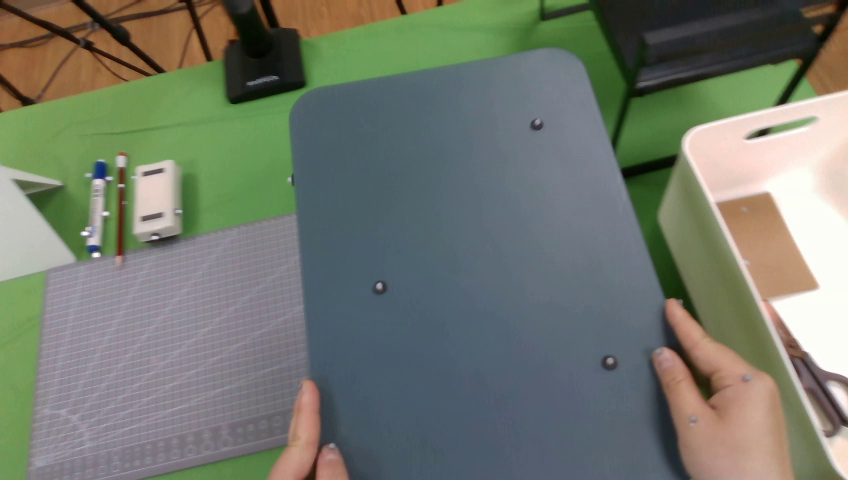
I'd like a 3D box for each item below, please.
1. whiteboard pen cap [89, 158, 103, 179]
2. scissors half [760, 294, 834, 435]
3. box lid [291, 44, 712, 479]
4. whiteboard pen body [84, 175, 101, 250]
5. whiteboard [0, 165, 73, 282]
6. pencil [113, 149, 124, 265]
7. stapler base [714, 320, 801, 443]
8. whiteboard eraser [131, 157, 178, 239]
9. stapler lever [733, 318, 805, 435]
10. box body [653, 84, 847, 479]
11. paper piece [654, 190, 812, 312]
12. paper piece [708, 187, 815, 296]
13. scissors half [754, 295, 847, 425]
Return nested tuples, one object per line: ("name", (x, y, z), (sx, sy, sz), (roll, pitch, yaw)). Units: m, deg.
("whiteboard pen cap", (-0.470, -0.100, 0.867), (0.018, 0.018, 0.033), (-15, 62, 0))
("scissors half", (0.389, 0.124, 0.655), (0.040, 0.013, 0.173), (-6, 58, 3))
("box lid", (0.038, 0.007, 0.464), (0.263, 0.015, 0.368), (-9, 66, -1))
("whiteboard pen body", (-0.460, -0.049, 0.842), (0.017, 0.017, 0.139), (-13, 63, 1))
("whiteboard", (-0.611, -0.096, 0.756), (0.217, 0.308, 0.142), (-14, 44, 1))
("pencil", (-0.423, -0.049, 0.842), (0.012, 0.012, 0.192), (-16, 64, -1))
("stapler base", (0.355, 0.145, 0.644), (0.041, 0.024, 0.129), (-17, 67, 2))
("whiteboard eraser", (-0.364, -0.056, 0.821), (0.055, 0.042, 0.111), (-14, 63, 1))
("stapler lever", (0.353, 0.137, 0.620), (0.027, 0.040, 0.117), (-17, 68, 2))
("box body", (0.420, 0.044, 0.613), (0.254, 0.162, 0.360), (-14, 63, 0))
("paper piece", (0.369, 0.011, 0.734), (0.136, 0.009, 0.137), (-19, 55, 16))
("paper piece", (0.365, 0.005, 0.715), (0.135, 0.004, 0.134), (-11, 63, -1))
("scissors half", (0.410, 0.119, 0.656), (0.040, 0.013, 0.173), (-22, 60, -13))
